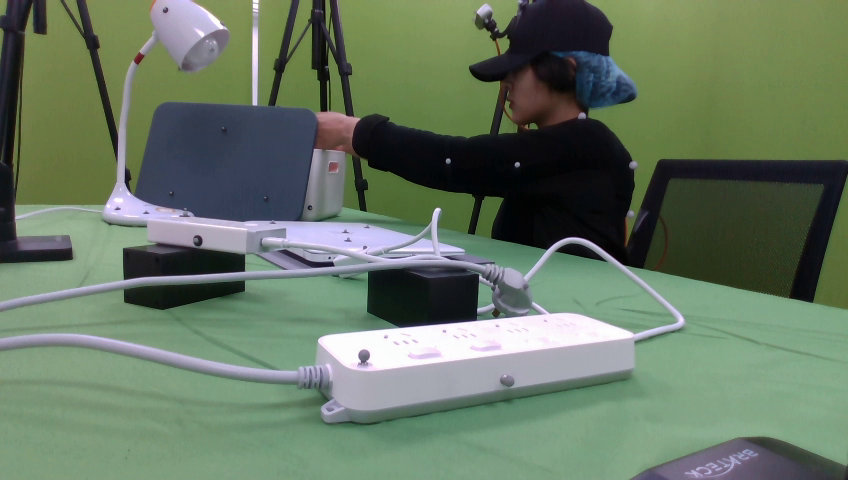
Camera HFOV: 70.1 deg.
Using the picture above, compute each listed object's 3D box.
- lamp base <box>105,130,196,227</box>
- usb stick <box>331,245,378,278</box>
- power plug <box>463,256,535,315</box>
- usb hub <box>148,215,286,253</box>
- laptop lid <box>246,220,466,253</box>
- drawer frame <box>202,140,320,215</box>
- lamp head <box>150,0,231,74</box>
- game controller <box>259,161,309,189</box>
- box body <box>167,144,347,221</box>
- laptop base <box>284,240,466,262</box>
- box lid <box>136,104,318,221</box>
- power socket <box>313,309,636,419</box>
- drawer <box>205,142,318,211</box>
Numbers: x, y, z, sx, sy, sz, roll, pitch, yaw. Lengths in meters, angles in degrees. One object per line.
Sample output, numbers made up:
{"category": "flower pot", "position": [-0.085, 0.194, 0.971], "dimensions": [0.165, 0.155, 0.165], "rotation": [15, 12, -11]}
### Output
{"category": "lamp base", "position": [-0.532, -0.120, 1.153], "dimensions": [0.179, 0.180, 0.161], "rotation": [1, 7, 8]}
{"category": "usb stick", "position": [-0.085, 0.026, 0.702], "dimensions": [0.059, 0.027, 0.021], "rotation": [-18, 19, 27]}
{"category": "power plug", "position": [0.064, 0.039, 0.530], "dimensions": [0.072, 0.052, 0.035], "rotation": [31, 43, 7]}
{"category": "usb hub", "position": [-0.197, -0.006, 0.575], "dimensions": [0.125, 0.025, 0.050], "rotation": [6, 6, 22]}
{"category": "laptop lid", "position": [-0.123, -0.009, 0.945], "dimensions": [0.243, 0.013, 0.355], "rotation": [1, 7, -29]}
{"category": "drawer frame", "position": [-0.365, -0.148, 1.390], "dimensions": [0.213, 0.083, 0.201], "rotation": [-26, 9, 5]}
{"category": "lamp head", "position": [-0.432, -0.374, 1.086], "dimensions": [0.123, 0.112, 0.112], "rotation": [42, 8, -2]}
{"category": "game controller", "position": [-0.321, -0.154, 1.391], "dimensions": [0.097, 0.051, 0.155], "rotation": [3, 12, -4]}
{"category": "box body", "position": [-0.384, -0.137, 1.407], "dimensions": [0.364, 0.160, 0.254], "rotation": [3, 8, 8]}
{"category": "laptop base", "position": [-0.125, 0.002, 0.946], "dimensions": [0.237, 0.023, 0.352], "rotation": [2, 6, -31]}
{"category": "box lid", "position": [-0.411, -0.162, 1.266], "dimensions": [0.371, 0.263, 0.015], "rotation": [3, -15, 9]}
{"category": "power socket", "position": [0.039, 0.072, 0.384], "dimensions": [0.228, 0.032, 0.072], "rotation": [-2, 7, -28]}
{"category": "drawer", "position": [-0.364, -0.148, 1.390], "dimensions": [0.212, 0.073, 0.194], "rotation": [-24, 11, 6]}
